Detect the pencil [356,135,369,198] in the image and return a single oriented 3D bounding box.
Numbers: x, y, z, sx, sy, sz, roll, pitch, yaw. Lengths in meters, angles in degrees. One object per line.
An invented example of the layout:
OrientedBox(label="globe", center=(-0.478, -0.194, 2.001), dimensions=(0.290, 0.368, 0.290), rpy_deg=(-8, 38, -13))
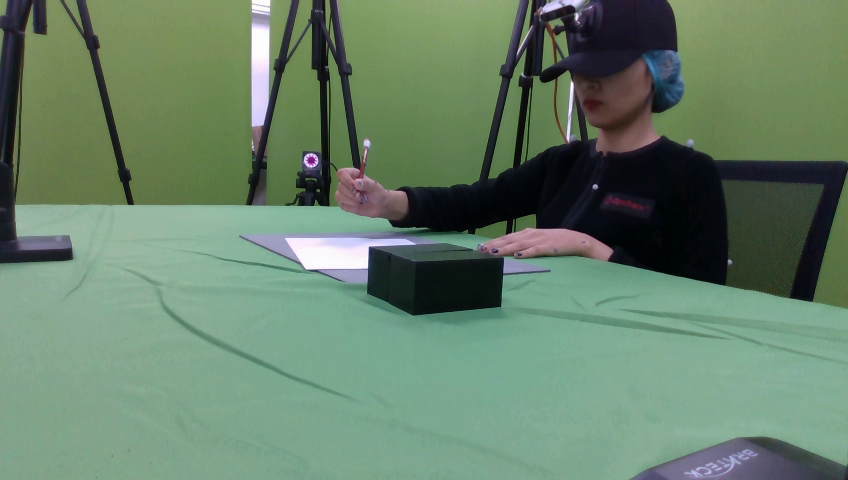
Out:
OrientedBox(label="pencil", center=(-0.109, -0.131, 1.067), dimensions=(0.012, 0.012, 0.193), rpy_deg=(2, 40, -1))
